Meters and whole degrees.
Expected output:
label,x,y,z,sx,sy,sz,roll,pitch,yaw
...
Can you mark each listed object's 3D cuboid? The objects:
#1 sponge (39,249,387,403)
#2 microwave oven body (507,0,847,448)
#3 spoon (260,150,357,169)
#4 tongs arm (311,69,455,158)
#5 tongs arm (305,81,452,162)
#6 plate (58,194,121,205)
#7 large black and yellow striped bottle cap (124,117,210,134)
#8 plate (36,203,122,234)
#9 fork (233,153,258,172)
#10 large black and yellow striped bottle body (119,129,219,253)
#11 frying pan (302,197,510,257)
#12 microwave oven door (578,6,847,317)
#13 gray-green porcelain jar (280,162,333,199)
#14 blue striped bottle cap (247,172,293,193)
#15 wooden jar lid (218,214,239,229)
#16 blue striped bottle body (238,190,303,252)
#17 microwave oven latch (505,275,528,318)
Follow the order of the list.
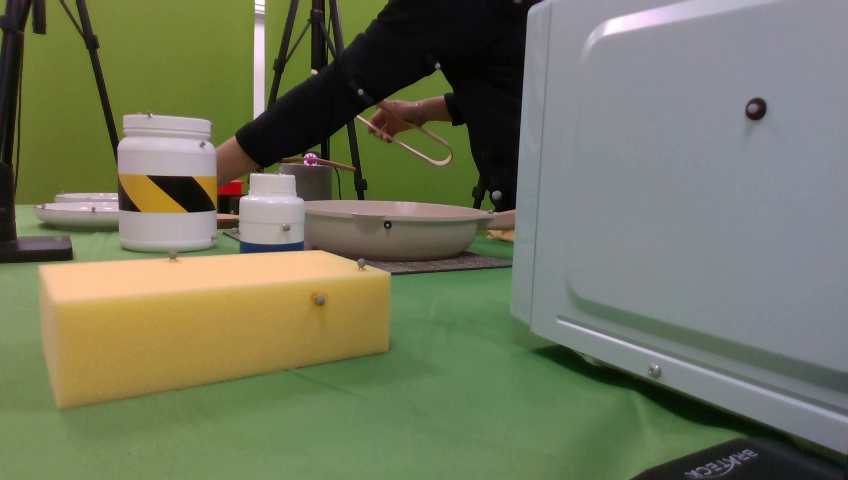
label,x,y,z,sx,sy,sz,roll,pitch,yaw
sponge,-0.142,0.047,0.420,0.208,0.061,0.117,-3,8,-36
microwave oven body,0.331,-0.042,0.425,0.444,0.260,0.324,-2,8,-31
spoon,-0.231,-0.162,1.221,0.194,0.021,0.041,3,4,-15
tongs arm,-0.091,-0.292,1.418,0.386,0.050,0.026,22,23,-17
tongs arm,-0.102,-0.275,1.426,0.389,0.028,0.027,26,18,-19
plate,-0.671,-0.074,1.310,0.209,0.038,0.209,2,8,0
large black and yellow striped bottle cap,-0.366,-0.163,0.866,0.115,0.019,0.115,3,7,0
plate,-0.571,-0.040,1.082,0.208,0.039,0.207,2,8,0
fork,-0.396,-0.143,1.486,0.028,0.018,0.208,21,-25,45
large black and yellow striped bottle body,-0.367,-0.080,0.876,0.131,0.184,0.130,1,7,0
frying pan,0.051,-0.035,0.915,0.487,0.102,0.307,-5,7,10
microwave oven door,0.294,-0.067,0.570,0.358,0.243,0.039,-3,9,-31
gray-green porcelain jar,-0.238,-0.092,1.221,0.106,0.126,0.106,2,8,0
blue striped bottle cap,-0.152,-0.057,0.598,0.044,0.020,0.044,3,7,0
wooden jar lid,-0.404,-0.036,1.169,0.108,0.020,0.108,2,7,0
blue striped bottle body,-0.153,-0.007,0.606,0.063,0.120,0.063,2,7,0
microwave oven latch,0.100,0.041,0.472,0.079,0.029,0.030,-2,8,-30
